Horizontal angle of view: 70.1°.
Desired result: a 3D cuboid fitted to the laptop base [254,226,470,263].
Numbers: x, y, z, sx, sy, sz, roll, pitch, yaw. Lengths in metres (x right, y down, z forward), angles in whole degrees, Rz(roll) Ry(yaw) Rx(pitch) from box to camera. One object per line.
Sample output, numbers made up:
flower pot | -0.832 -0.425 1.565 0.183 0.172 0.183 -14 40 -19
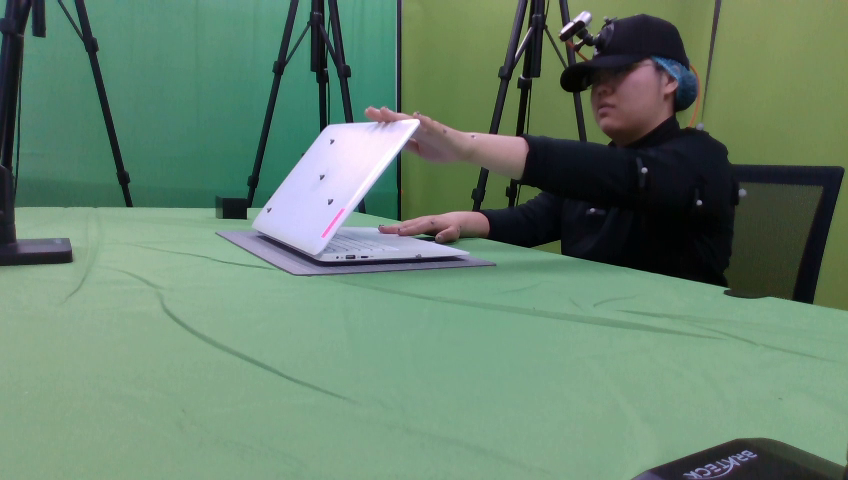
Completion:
laptop base | -0.117 0.005 0.970 0.237 0.023 0.352 2 6 -30

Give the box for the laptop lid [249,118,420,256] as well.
laptop lid | -0.155 -0.094 0.933 0.013 0.241 0.355 42 -12 -28
